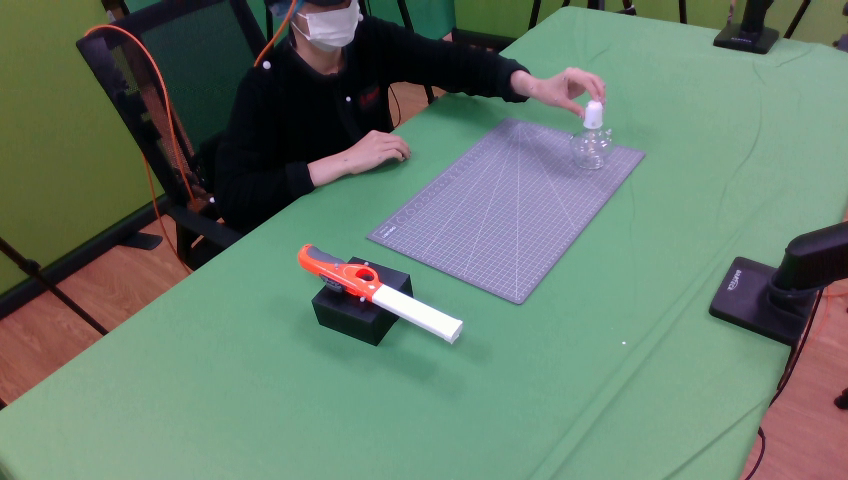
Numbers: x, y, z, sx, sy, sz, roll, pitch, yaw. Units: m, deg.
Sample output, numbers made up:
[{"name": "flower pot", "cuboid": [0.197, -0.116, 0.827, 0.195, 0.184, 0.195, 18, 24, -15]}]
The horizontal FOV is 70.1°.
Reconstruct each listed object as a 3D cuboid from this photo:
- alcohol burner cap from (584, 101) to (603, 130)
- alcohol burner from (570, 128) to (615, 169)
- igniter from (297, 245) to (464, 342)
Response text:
[{"name": "alcohol burner cap", "cuboid": [0.293, -0.216, 1.044, 0.034, 0.048, 0.033, -6, 43, 6]}, {"name": "alcohol burner", "cuboid": [0.299, -0.187, 1.071, 0.078, 0.119, 0.077, -6, 41, 6]}, {"name": "igniter", "cuboid": [-0.070, 0.068, 0.828, 0.274, 0.025, 0.057, 23, 49, 25]}]
